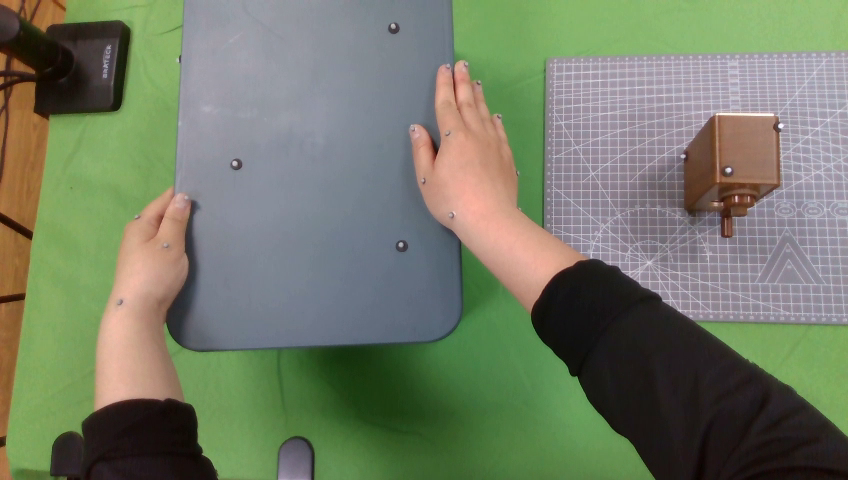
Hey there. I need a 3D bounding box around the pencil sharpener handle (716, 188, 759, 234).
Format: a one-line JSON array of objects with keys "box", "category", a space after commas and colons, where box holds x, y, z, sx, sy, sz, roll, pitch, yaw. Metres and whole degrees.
[{"box": [0.298, -0.027, 0.582, 0.036, 0.068, 0.030, 0, 79, 15], "category": "pencil sharpener handle"}]

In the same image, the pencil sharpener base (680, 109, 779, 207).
[{"box": [0.300, -0.075, 0.603, 0.061, 0.107, 0.076, 2, 80, 8], "category": "pencil sharpener base"}]

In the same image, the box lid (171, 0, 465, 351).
[{"box": [-0.101, -0.090, 0.555, 0.263, 0.015, 0.370, -4, 80, 6], "category": "box lid"}]

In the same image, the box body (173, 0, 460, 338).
[{"box": [-0.093, -0.079, 0.631, 0.254, 0.161, 0.362, -3, 79, 7], "category": "box body"}]
